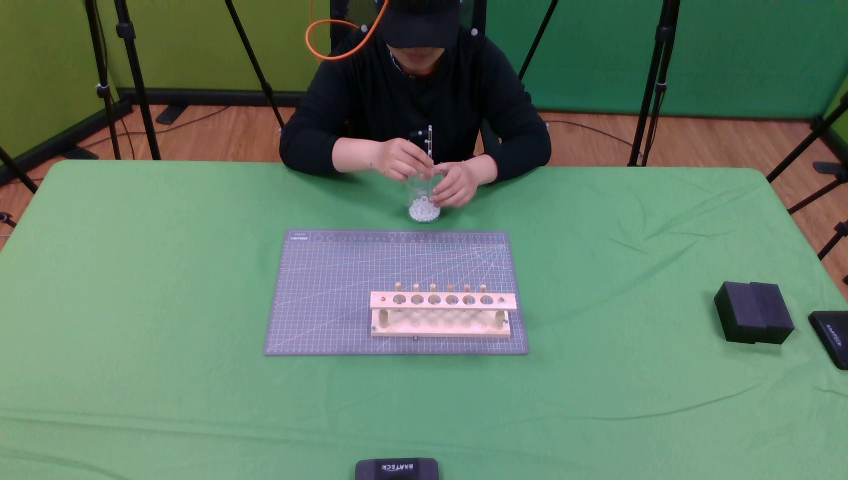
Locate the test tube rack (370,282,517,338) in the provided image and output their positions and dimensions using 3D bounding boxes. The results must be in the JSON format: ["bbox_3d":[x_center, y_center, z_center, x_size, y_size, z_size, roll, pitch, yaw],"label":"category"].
[{"bbox_3d":[0.030,0.116,1.041,0.242,0.085,0.066,1,46,-3],"label":"test tube rack"}]

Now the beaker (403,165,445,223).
[{"bbox_3d":[0.002,-0.091,1.227,0.084,0.101,0.073,-15,49,-13],"label":"beaker"}]

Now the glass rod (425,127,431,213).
[{"bbox_3d":[0.007,-0.131,1.180,0.008,0.201,0.008,1,41,-1],"label":"glass rod"}]
